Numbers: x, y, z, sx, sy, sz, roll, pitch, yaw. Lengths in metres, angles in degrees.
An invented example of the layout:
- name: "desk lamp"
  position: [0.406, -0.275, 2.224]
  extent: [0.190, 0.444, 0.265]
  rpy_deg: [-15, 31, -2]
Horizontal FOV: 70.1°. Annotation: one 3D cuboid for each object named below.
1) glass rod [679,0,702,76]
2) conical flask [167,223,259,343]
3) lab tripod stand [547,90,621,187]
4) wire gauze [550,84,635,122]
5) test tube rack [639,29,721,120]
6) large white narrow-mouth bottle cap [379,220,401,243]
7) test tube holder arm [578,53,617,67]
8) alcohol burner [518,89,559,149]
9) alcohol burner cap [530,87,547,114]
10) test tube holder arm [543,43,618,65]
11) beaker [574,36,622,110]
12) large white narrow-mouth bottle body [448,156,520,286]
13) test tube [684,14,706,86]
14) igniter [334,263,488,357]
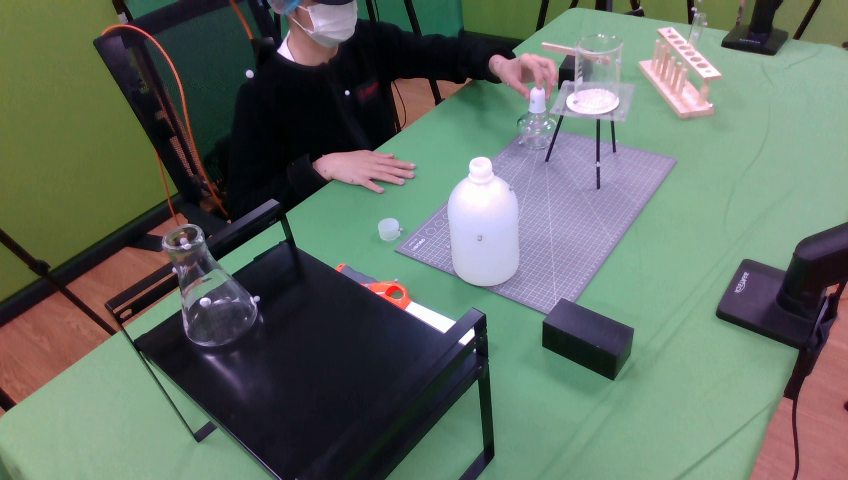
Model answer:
- name: "glass rod"
  position: [0.543, -0.417, 1.233]
  extent: [0.008, 0.200, 0.008]
  rpy_deg: [1, 39, 0]
- name: "conical flask"
  position: [-0.220, 0.041, 0.613]
  extent: [0.075, 0.122, 0.075]
  rpy_deg: [-5, 40, 4]
- name: "lab tripod stand"
  position: [0.289, -0.184, 1.062]
  extent: [0.148, 0.132, 0.147]
  rpy_deg: [-6, 41, 6]
- name: "wire gauze"
  position: [0.285, -0.234, 1.021]
  extent: [0.124, 0.011, 0.121]
  rpy_deg: [8, 41, 23]
- name: "test tube rack"
  position: [0.527, -0.351, 1.262]
  extent: [0.067, 0.085, 0.241]
  rpy_deg: [-8, 40, 1]
- name: "large white narrow-mouth bottle cap"
  position: [-0.057, -0.015, 1.011]
  extent: [0.038, 0.024, 0.037]
  rpy_deg: [-4, 40, 4]
- name: "test tube holder arm"
  position: [0.376, -0.393, 1.314]
  extent: [0.087, 0.015, 0.010]
  rpy_deg: [26, 51, 32]
- name: "alcohol burner"
  position: [0.218, -0.235, 1.148]
  extent: [0.078, 0.119, 0.077]
  rpy_deg: [-5, 43, 5]
- name: "alcohol burner cap"
  position: [0.213, -0.262, 1.126]
  extent: [0.034, 0.048, 0.033]
  rpy_deg: [-4, 38, 4]
- name: "test tube holder arm"
  position: [0.345, -0.413, 1.341]
  extent: [0.177, 0.015, 0.013]
  rpy_deg: [25, 50, 32]
- name: "beaker"
  position: [0.285, -0.273, 0.990]
  extent: [0.073, 0.101, 0.084]
  rpy_deg: [15, 46, 27]
- name: "large white narrow-mouth bottle body"
  position: [0.086, -0.032, 0.869]
  extent: [0.102, 0.195, 0.101]
  rpy_deg: [-4, 40, 4]
- name: "test tube"
  position: [0.540, -0.378, 1.215]
  extent: [0.017, 0.151, 0.017]
  rpy_deg: [-2, 44, 3]
- name: "igniter"
  position: [-0.030, 0.095, 0.872]
  extent: [0.274, 0.025, 0.057]
  rpy_deg: [23, 60, 31]
